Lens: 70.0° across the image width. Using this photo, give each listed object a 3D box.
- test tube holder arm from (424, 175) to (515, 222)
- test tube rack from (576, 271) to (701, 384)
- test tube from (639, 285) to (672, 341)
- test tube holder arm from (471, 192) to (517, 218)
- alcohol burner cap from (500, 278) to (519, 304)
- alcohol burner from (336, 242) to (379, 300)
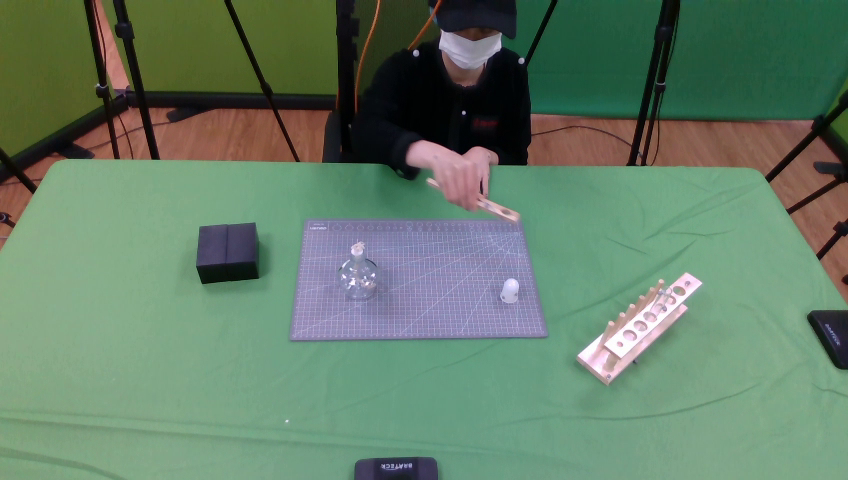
[{"bbox_3d":[0.075,-0.072,1.033,0.178,0.015,0.013,25,69,23],"label":"test tube holder arm"},{"bbox_3d":[0.373,0.138,1.048,0.242,0.085,0.066,-31,55,-29],"label":"test tube rack"},{"bbox_3d":[0.374,0.123,0.994,0.017,0.151,0.017,1,50,-1],"label":"test tube"},{"bbox_3d":[0.116,-0.059,1.017,0.087,0.015,0.010,25,69,23],"label":"test tube holder arm"},{"bbox_3d":[0.157,0.090,1.104,0.034,0.048,0.033,2,46,-2],"label":"alcohol burner cap"},{"bbox_3d":[-0.118,0.050,1.072,0.078,0.120,0.077,2,44,-1],"label":"alcohol burner"}]
